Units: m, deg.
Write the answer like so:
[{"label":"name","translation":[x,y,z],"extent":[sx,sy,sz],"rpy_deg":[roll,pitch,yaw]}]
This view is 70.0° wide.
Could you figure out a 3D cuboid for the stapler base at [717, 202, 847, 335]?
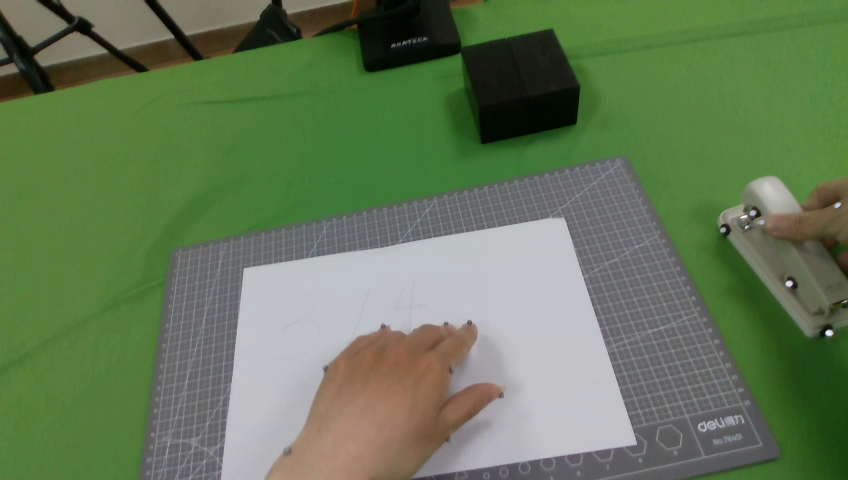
[{"label":"stapler base","translation":[0.288,0.013,0.486],"extent":[0.041,0.025,0.129],"rpy_deg":[-21,54,-2]}]

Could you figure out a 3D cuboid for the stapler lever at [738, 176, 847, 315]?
[{"label":"stapler lever","translation":[0.285,-0.001,0.465],"extent":[0.027,0.040,0.117],"rpy_deg":[-21,54,-1]}]
